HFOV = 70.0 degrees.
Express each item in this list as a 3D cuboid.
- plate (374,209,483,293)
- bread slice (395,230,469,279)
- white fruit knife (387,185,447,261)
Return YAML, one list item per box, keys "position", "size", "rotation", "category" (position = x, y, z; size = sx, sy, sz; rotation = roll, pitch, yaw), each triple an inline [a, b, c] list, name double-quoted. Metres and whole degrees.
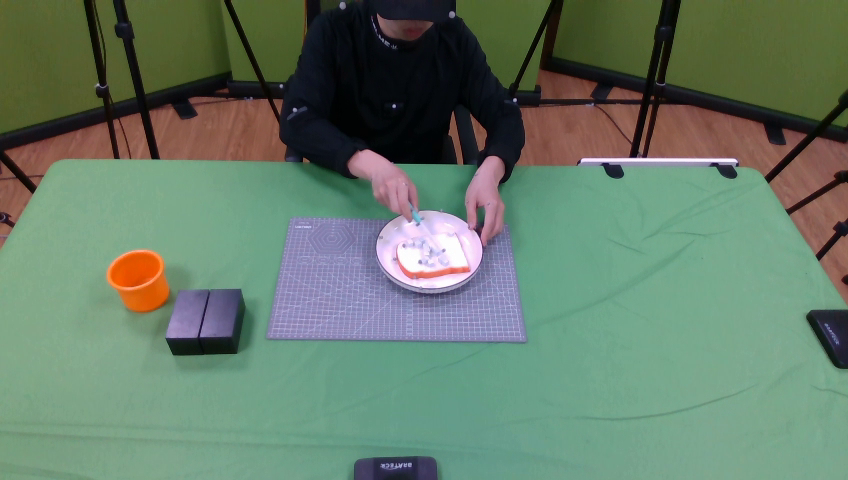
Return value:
- position: [0.009, 0.024, 1.160]
  size: [0.209, 0.038, 0.208]
  rotation: [2, 46, -2]
  category: "plate"
- position: [0.011, 0.029, 1.158]
  size: [0.132, 0.019, 0.104]
  rotation: [-9, 48, -14]
  category: "bread slice"
- position: [-0.014, -0.036, 1.160]
  size: [0.016, 0.027, 0.206]
  rotation: [-30, 63, -16]
  category: "white fruit knife"
